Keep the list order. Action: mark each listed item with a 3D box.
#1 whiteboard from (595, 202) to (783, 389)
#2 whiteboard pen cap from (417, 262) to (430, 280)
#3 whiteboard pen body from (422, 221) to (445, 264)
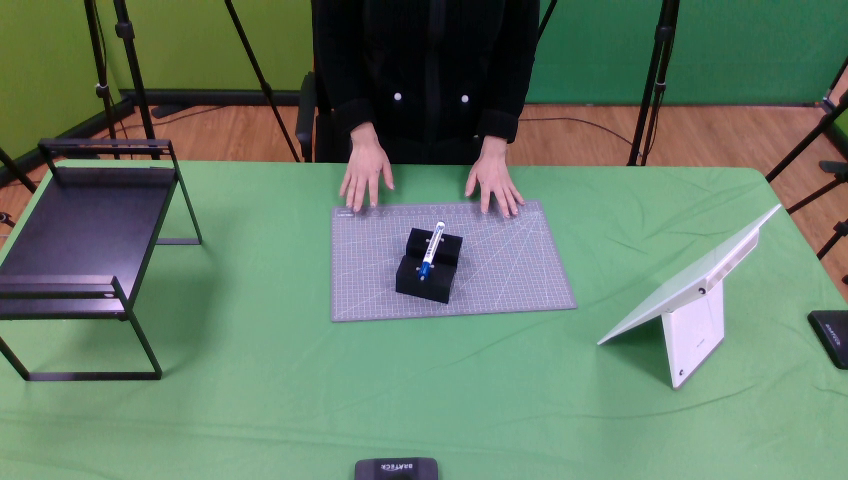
[{"bbox_3d":[0.459,0.112,0.968,0.217,0.306,0.143,-31,74,-29],"label":"whiteboard"},{"bbox_3d":[0.000,0.053,1.075,0.018,0.018,0.033,13,44,9],"label":"whiteboard pen cap"},{"bbox_3d":[0.015,0.013,1.115,0.017,0.017,0.140,13,45,9],"label":"whiteboard pen body"}]
